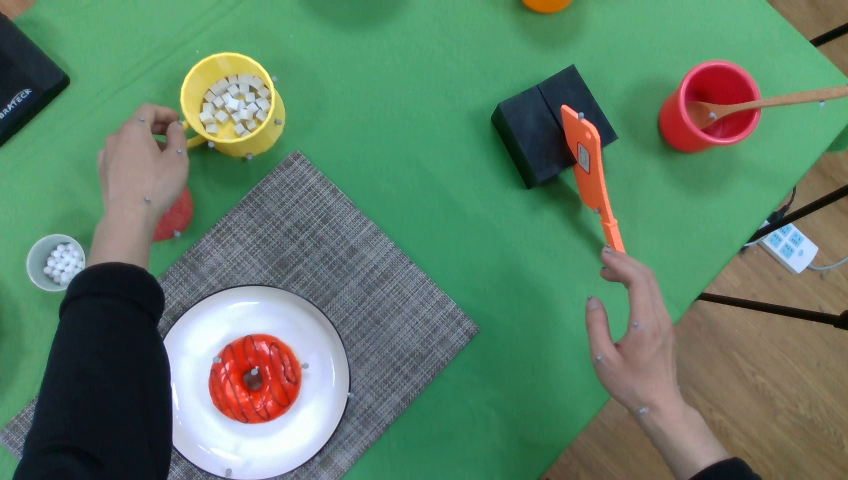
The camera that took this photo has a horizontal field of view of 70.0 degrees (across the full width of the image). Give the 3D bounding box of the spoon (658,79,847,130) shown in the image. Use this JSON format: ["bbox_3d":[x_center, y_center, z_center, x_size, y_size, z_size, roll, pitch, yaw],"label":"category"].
[{"bbox_3d":[0.365,-0.156,0.681,0.192,0.022,0.041,-4,77,40],"label":"spoon"}]

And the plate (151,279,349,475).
[{"bbox_3d":[-0.186,0.146,0.662,0.209,0.038,0.208,0,85,-4],"label":"plate"}]

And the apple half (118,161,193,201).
[{"bbox_3d":[-0.286,-0.068,0.659,0.081,0.081,0.033,18,87,-2],"label":"apple half"}]

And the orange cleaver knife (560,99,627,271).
[{"bbox_3d":[0.191,-0.059,0.687,0.012,0.076,0.213,-26,119,-5],"label":"orange cleaver knife"}]

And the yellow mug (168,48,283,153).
[{"bbox_3d":[-0.226,-0.144,0.674,0.131,0.064,0.100,-35,88,-6],"label":"yellow mug"}]

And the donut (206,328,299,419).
[{"bbox_3d":[-0.183,0.143,0.651,0.099,0.048,0.099,0,87,-4],"label":"donut"}]

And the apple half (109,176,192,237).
[{"bbox_3d":[-0.298,-0.030,0.655,0.081,0.074,0.053,19,86,-2],"label":"apple half"}]

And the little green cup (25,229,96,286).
[{"bbox_3d":[-0.393,0.021,0.661,0.061,0.038,0.061,0,85,-4],"label":"little green cup"}]
